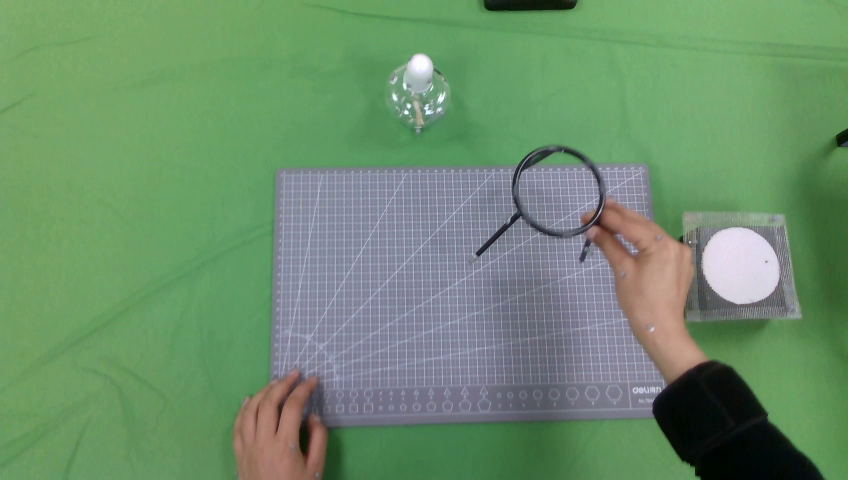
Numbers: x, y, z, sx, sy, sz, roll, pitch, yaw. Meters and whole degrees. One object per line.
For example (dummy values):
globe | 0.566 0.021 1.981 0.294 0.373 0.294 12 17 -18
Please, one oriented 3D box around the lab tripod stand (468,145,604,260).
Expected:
lab tripod stand | 0.121 -0.029 0.619 0.149 0.132 0.147 2 74 -8

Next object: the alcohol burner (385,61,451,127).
alcohol burner | -0.006 -0.177 0.693 0.078 0.119 0.077 1 78 -4

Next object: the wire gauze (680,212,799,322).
wire gauze | 0.343 0.029 0.667 0.121 0.011 0.124 2 76 1

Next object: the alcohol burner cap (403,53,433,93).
alcohol burner cap | -0.005 -0.184 0.659 0.034 0.048 0.034 1 82 -6
